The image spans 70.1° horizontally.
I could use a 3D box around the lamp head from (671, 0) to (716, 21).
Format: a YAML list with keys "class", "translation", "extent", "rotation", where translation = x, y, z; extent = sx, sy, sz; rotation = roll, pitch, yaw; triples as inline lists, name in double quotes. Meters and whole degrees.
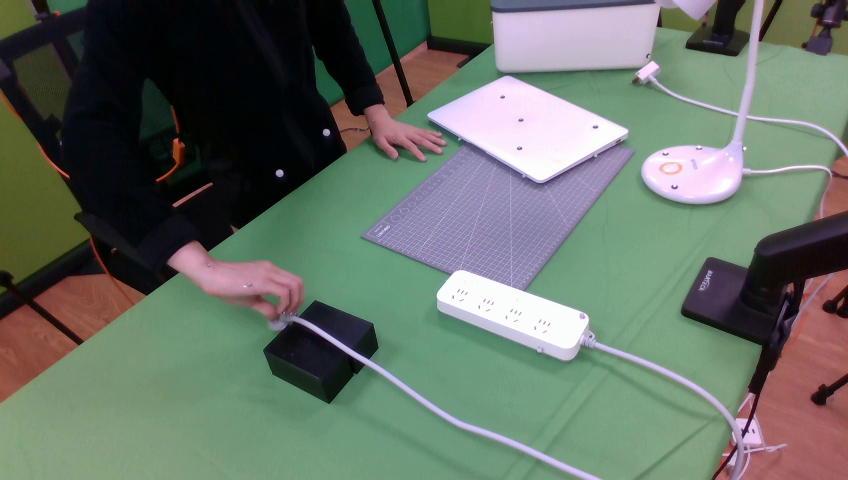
- class: "lamp head"
  translation: [0.375, -0.373, 0.807]
  extent: [0.122, 0.113, 0.112]
  rotation: [-40, 27, 32]

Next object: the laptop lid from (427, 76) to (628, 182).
- class: "laptop lid"
  translation: [0.196, -0.237, 1.213]
  extent: [0.242, 0.013, 0.353]
  rotation: [-29, 44, -21]

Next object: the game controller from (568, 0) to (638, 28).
- class: "game controller"
  translation: [0.428, -0.548, 1.425]
  extent: [0.155, 0.052, 0.096]
  rotation: [-16, 45, -10]

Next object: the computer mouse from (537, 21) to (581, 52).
- class: "computer mouse"
  translation: [0.335, -0.503, 1.487]
  extent: [0.118, 0.041, 0.062]
  rotation: [22, 18, -28]

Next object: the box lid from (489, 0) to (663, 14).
- class: "box lid"
  translation: [0.340, -0.575, 1.380]
  extent: [0.371, 0.015, 0.262]
  rotation: [0, 41, 9]

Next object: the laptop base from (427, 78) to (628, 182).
- class: "laptop base"
  translation: [0.199, -0.228, 1.222]
  extent: [0.236, 0.023, 0.351]
  rotation: [-31, 45, -22]

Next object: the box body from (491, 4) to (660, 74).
- class: "box body"
  translation: [0.346, -0.520, 1.429]
  extent: [0.363, 0.161, 0.253]
  rotation: [0, 41, 9]

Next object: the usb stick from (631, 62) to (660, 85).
- class: "usb stick"
  translation: [0.480, -0.358, 1.317]
  extent: [0.059, 0.022, 0.027]
  rotation: [-35, 56, 14]

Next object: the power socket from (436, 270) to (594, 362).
- class: "power socket"
  translation: [0.118, 0.101, 0.832]
  extent: [0.225, 0.033, 0.072]
  rotation: [19, 48, 27]

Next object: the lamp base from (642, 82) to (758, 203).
- class: "lamp base"
  translation: [0.464, -0.174, 0.992]
  extent: [0.179, 0.181, 0.159]
  rotation: [-5, 41, -1]

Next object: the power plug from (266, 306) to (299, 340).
- class: "power plug"
  translation: [-0.193, 0.120, 0.826]
  extent: [0.035, 0.053, 0.072]
  rotation: [-13, 25, -21]
